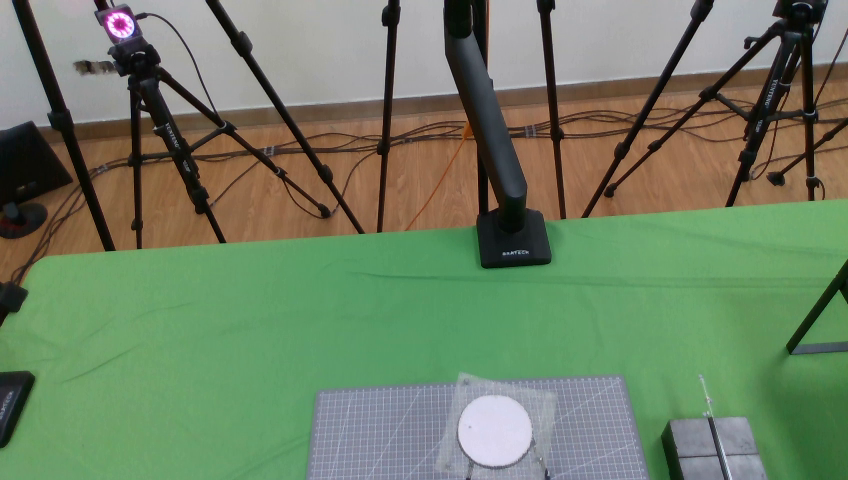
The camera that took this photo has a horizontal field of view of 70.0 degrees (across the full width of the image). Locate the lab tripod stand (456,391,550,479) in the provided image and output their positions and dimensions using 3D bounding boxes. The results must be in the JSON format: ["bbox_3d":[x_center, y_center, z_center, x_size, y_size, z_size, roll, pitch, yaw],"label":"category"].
[{"bbox_3d":[0.085,0.255,0.757,0.148,0.133,0.147,-4,50,5],"label":"lab tripod stand"}]

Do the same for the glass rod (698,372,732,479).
[{"bbox_3d":[0.369,0.255,0.755,0.008,0.008,0.198,-1,51,5],"label":"glass rod"}]

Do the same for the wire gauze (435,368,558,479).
[{"bbox_3d":[0.086,0.213,0.704,0.121,0.011,0.124,10,51,13],"label":"wire gauze"}]
